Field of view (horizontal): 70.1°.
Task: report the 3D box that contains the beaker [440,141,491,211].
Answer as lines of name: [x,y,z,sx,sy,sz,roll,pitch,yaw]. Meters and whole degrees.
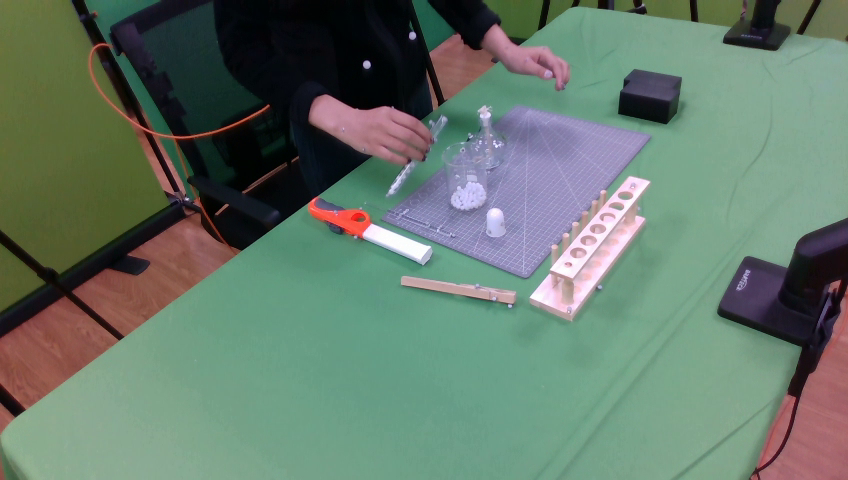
beaker: [0.074,-0.106,1.028,0.084,0.101,0.073,-2,41,8]

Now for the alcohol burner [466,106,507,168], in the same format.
alcohol burner: [0.114,-0.193,1.112,0.078,0.119,0.077,-4,41,4]

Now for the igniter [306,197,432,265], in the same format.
igniter: [-0.102,-0.020,1.019,0.274,0.025,0.057,23,59,32]

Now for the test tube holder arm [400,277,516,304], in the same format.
test tube holder arm: [0.047,0.073,0.887,0.177,0.015,0.013,7,9,19]

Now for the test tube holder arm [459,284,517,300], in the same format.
test tube holder arm: [0.091,0.078,0.877,0.087,0.015,0.010,7,9,20]

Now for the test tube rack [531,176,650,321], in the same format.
test tube rack: [0.246,0.002,0.884,0.066,0.085,0.243,22,49,32]

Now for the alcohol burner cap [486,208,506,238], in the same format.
alcohol burner cap: [0.116,-0.030,0.975,0.034,0.048,0.033,-6,40,5]

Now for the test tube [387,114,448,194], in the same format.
test tube: [-0.012,-0.133,0.944,0.150,0.017,0.017,-53,44,12]

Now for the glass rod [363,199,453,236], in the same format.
glass rod: [-0.031,-0.041,1.041,0.198,0.008,0.008,22,50,31]
